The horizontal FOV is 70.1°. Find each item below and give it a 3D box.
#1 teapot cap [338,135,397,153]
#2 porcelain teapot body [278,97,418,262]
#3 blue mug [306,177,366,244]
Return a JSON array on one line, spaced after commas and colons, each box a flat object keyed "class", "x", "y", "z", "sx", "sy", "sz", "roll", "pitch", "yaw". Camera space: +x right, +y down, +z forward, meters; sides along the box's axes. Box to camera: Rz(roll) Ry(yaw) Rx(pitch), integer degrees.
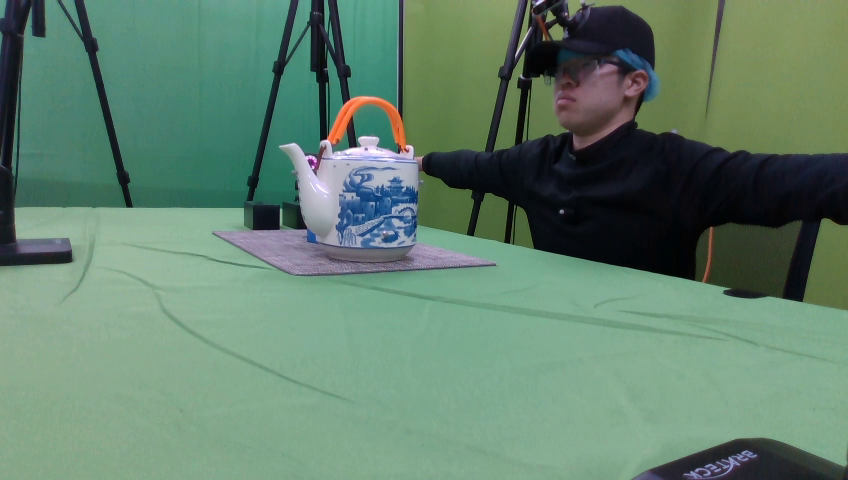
[{"class": "teapot cap", "x": -0.080, "y": -0.127, "z": 0.854, "sx": 0.085, "sy": 0.044, "sz": 0.085, "roll": -1, "pitch": 6, "yaw": 0}, {"class": "porcelain teapot body", "x": -0.104, "y": -0.086, "z": 0.842, "sx": 0.206, "sy": 0.225, "sz": 0.144, "roll": -4, "pitch": 10, "yaw": -38}, {"class": "blue mug", "x": -0.144, "y": -0.052, "z": 1.027, "sx": 0.082, "sy": 0.106, "sz": 0.117, "roll": 9, "pitch": 10, "yaw": 42}]
